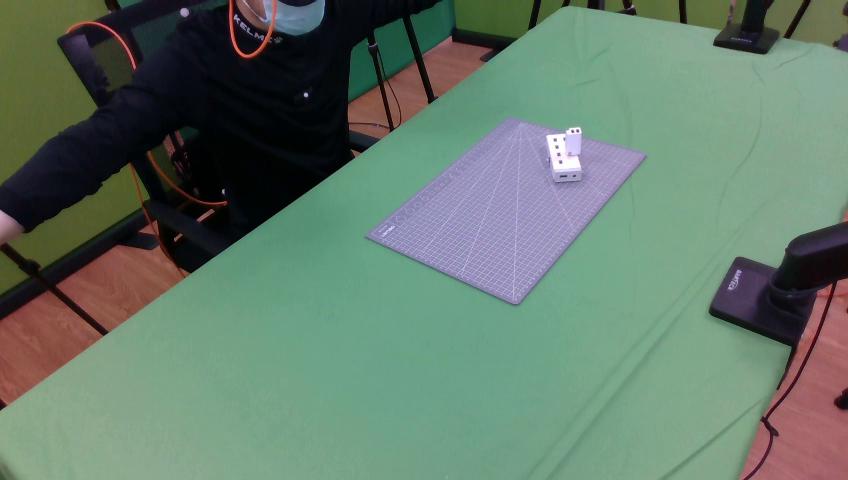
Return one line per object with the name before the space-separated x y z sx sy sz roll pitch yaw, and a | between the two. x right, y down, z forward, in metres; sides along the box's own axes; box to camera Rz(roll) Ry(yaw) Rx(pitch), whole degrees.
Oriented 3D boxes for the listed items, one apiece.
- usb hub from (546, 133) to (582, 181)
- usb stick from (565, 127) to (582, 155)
usb hub | 0.255 -0.153 1.103 0.049 0.025 0.124 -3 41 5
usb stick | 0.266 -0.170 1.077 0.027 0.059 0.021 -3 41 2
